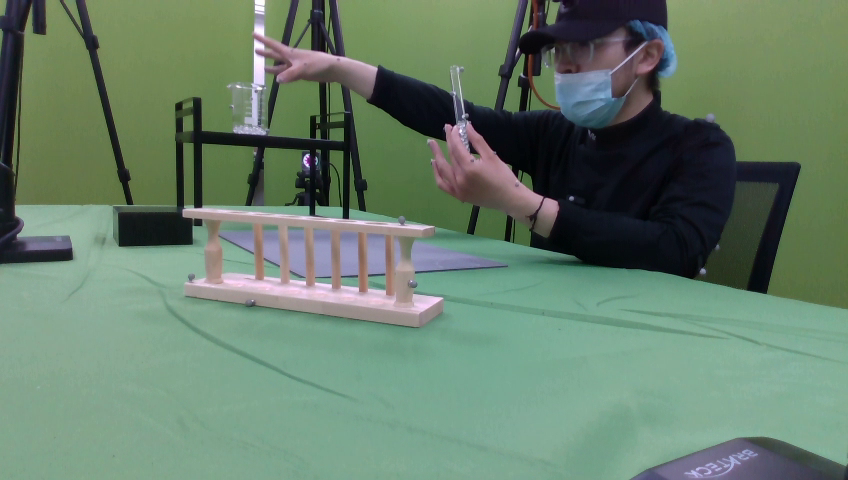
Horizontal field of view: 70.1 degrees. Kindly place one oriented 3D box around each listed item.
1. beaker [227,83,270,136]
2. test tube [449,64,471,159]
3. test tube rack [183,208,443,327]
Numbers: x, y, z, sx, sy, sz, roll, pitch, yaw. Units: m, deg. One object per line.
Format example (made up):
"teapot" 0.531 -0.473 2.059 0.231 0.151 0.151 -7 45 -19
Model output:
"beaker" -0.354 -0.262 1.224 0.084 0.100 0.073 -2 8 -28
"test tube" 0.055 -0.196 0.922 0.017 0.150 0.017 -7 -9 -1
"test tube rack" -0.106 0.019 0.570 0.241 0.085 0.067 5 8 19
